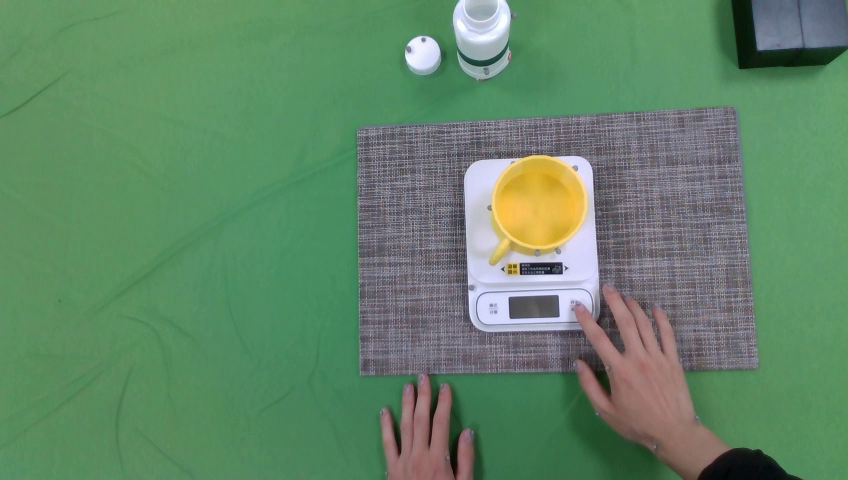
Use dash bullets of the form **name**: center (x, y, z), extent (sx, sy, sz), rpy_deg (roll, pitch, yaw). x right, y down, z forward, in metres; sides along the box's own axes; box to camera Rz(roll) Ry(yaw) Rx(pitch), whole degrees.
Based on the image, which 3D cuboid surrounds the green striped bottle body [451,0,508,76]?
- **green striped bottle body**: center (0.063, -0.240, 0.689), extent (0.063, 0.119, 0.063), rpy_deg (-1, 82, 6)

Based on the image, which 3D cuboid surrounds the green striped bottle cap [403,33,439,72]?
- **green striped bottle cap**: center (-0.003, -0.232, 0.749), extent (0.044, 0.020, 0.044), rpy_deg (0, 89, 5)

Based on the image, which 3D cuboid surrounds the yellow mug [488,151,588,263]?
- **yellow mug**: center (0.111, -0.027, 0.653), extent (0.099, 0.064, 0.131), rpy_deg (38, 89, 8)

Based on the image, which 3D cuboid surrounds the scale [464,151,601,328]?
- **scale**: center (0.123, -0.001, 0.697), extent (0.148, 0.031, 0.200), rpy_deg (-3, 84, 6)
